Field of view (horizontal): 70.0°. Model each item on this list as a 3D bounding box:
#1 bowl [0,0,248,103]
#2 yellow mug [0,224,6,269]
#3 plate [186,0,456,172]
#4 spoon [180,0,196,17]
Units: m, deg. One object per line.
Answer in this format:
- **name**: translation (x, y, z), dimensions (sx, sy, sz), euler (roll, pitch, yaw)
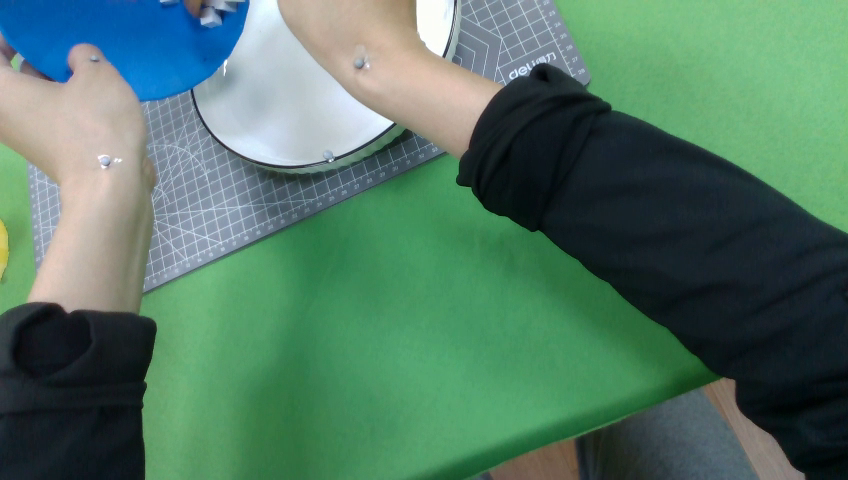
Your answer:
- **bowl**: translation (-0.198, -0.170, 0.386), dimensions (0.151, 0.153, 0.076), euler (-50, 36, 0)
- **yellow mug**: translation (-0.410, 0.028, 0.489), dimensions (0.099, 0.064, 0.130), euler (-1, 76, 18)
- **plate**: translation (-0.074, -0.142, 0.435), dimensions (0.208, 0.038, 0.208), euler (-5, 74, 17)
- **spoon**: translation (-0.109, -0.174, 0.330), dimensions (0.193, 0.022, 0.041), euler (-11, 83, 54)
